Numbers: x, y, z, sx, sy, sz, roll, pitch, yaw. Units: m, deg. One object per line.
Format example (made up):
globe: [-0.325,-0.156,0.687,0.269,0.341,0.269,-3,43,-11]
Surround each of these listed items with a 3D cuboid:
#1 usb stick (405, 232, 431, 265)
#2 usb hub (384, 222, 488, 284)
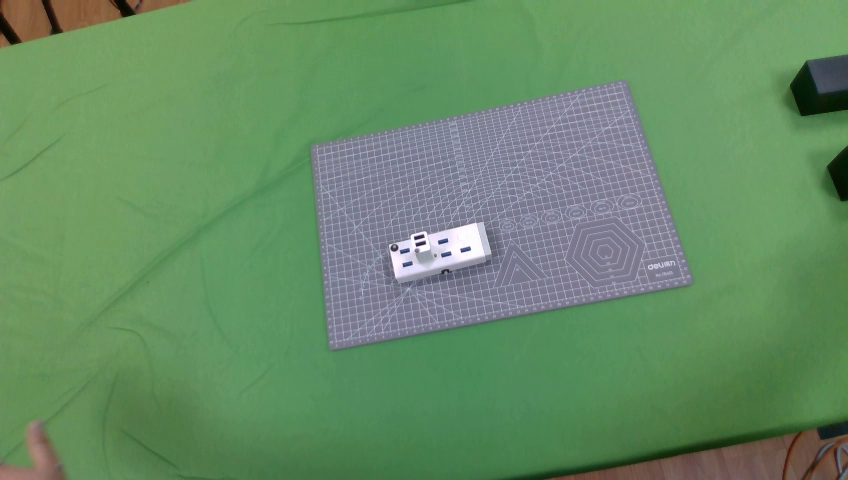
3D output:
usb stick: [-0.006,0.013,0.740,0.021,0.059,0.027,-18,66,2]
usb hub: [0.014,0.015,0.767,0.125,0.025,0.049,-14,67,2]
